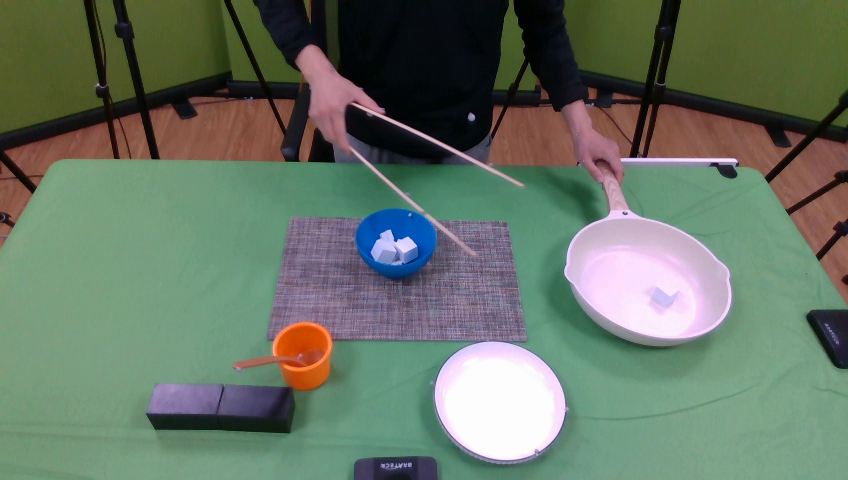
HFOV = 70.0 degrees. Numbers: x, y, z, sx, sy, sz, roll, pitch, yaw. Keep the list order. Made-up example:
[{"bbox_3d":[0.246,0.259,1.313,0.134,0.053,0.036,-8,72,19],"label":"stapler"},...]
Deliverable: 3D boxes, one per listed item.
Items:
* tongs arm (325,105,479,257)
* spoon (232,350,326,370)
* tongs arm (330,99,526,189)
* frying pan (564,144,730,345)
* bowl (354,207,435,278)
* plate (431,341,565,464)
[{"bbox_3d":[-0.040,-0.108,1.061,0.383,0.026,0.051,39,97,15],"label":"tongs arm"},{"bbox_3d":[-0.216,0.182,0.919,0.041,0.194,0.021,43,102,27],"label":"spoon"},{"bbox_3d":[0.002,-0.170,1.055,0.386,0.028,0.028,27,7,16],"label":"tongs arm"},{"bbox_3d":[0.396,-0.008,1.179,0.307,0.103,0.484,0,55,-6],"label":"frying pan"},{"bbox_3d":[-0.055,0.018,1.132,0.151,0.077,0.150,2,46,-2],"label":"bowl"},{"bbox_3d":[0.114,0.255,0.951,0.208,0.039,0.206,3,46,-2],"label":"plate"}]
